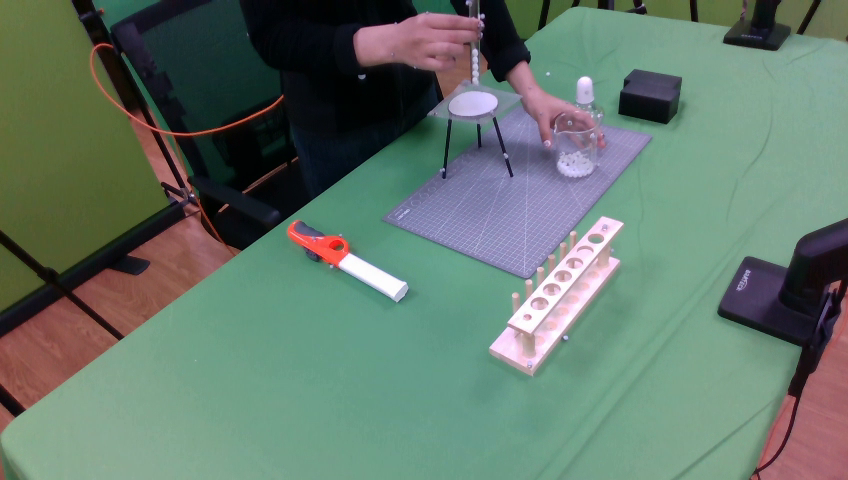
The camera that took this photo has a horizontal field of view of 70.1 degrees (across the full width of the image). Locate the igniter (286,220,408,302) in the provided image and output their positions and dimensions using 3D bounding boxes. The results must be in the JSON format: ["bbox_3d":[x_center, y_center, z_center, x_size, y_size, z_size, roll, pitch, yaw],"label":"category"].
[{"bbox_3d":[-0.133,0.028,0.968,0.274,0.025,0.057,26,61,35],"label":"igniter"}]

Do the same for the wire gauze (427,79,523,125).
[{"bbox_3d":[0.088,-0.239,1.050,0.120,0.011,0.125,22,49,30],"label":"wire gauze"}]

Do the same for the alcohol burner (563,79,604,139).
[{"bbox_3d":[0.304,-0.253,1.147,0.078,0.119,0.077,-4,41,4],"label":"alcohol burner"}]

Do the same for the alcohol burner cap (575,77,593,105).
[{"bbox_3d":[0.297,-0.279,1.123,0.034,0.048,0.033,-8,41,8],"label":"alcohol burner cap"}]

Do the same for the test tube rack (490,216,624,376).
[{"bbox_3d":[0.184,0.064,0.822,0.066,0.085,0.243,24,50,33],"label":"test tube rack"}]

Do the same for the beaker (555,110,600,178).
[{"bbox_3d":[0.266,-0.165,1.061,0.084,0.101,0.073,-24,42,-15],"label":"beaker"}]

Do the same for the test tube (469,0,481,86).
[{"bbox_3d":[0.076,-0.296,0.899,0.017,0.151,0.017,-3,47,4],"label":"test tube"}]

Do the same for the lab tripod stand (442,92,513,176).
[{"bbox_3d":[0.096,-0.190,1.096,0.148,0.132,0.147,-4,40,4],"label":"lab tripod stand"}]
